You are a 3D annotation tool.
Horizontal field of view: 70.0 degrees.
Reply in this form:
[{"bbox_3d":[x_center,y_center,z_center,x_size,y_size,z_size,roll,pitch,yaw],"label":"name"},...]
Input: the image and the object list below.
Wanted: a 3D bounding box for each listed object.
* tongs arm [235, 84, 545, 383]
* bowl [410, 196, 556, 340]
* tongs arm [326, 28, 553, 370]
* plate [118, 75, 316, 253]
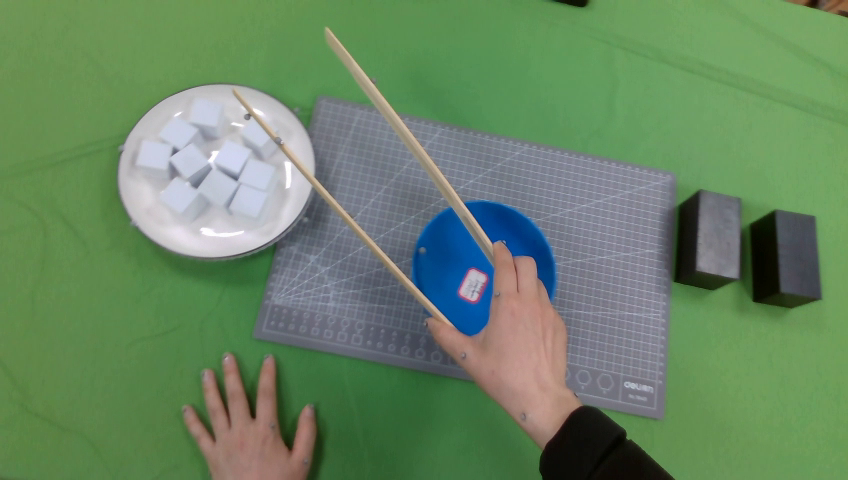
[{"bbox_3d":[-0.039,-0.014,0.553,0.051,0.026,0.383,-38,80,-15],"label":"tongs arm"},{"bbox_3d":[0.056,0.037,0.644,0.152,0.077,0.150,2,73,-7],"label":"bowl"},{"bbox_3d":[0.008,-0.049,0.566,0.028,0.028,0.385,-31,78,-17],"label":"tongs arm"},{"bbox_3d":[-0.223,-0.082,0.669,0.208,0.039,0.206,2,73,-5],"label":"plate"}]
